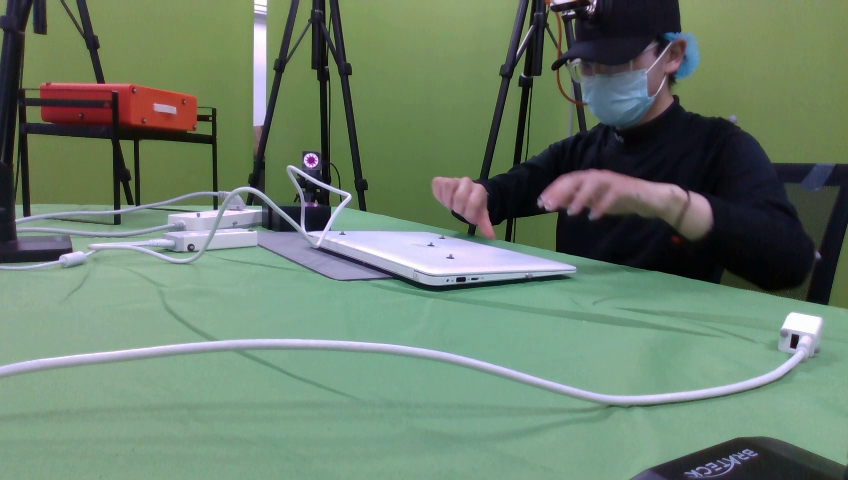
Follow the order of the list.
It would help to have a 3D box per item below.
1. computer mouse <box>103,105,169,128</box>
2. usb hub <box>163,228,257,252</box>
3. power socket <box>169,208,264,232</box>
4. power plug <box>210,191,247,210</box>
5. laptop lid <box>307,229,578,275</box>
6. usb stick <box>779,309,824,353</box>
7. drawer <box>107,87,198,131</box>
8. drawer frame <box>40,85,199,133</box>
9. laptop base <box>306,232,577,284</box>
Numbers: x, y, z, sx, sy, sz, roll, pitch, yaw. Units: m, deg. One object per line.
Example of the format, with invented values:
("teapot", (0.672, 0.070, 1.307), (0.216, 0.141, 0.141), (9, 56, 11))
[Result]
("computer mouse", (-0.581, -0.249, 1.223), (0.118, 0.041, 0.062), (2, 3, -39))
("usb hub", (-0.313, -0.001, 0.894), (0.049, 0.025, 0.126), (9, 10, 41))
("power socket", (-0.381, -0.038, 1.128), (0.072, 0.032, 0.227), (3, 8, 17))
("power plug", (-0.386, -0.071, 1.204), (0.072, 0.052, 0.035), (8, 11, 25))
("laptop lid", (0.009, 0.010, 0.850), (0.243, 0.013, 0.355), (0, 8, -32))
("usb stick", (0.311, 0.072, 0.496), (0.027, 0.021, 0.059), (8, 15, 34))
("drawer", (-0.609, -0.265, 1.236), (0.211, 0.073, 0.195), (4, 8, 16))
("drawer frame", (-0.612, -0.266, 1.235), (0.213, 0.082, 0.202), (3, 8, 15))
("laptop base", (0.007, 0.021, 0.850), (0.237, 0.023, 0.352), (1, 7, -34))
